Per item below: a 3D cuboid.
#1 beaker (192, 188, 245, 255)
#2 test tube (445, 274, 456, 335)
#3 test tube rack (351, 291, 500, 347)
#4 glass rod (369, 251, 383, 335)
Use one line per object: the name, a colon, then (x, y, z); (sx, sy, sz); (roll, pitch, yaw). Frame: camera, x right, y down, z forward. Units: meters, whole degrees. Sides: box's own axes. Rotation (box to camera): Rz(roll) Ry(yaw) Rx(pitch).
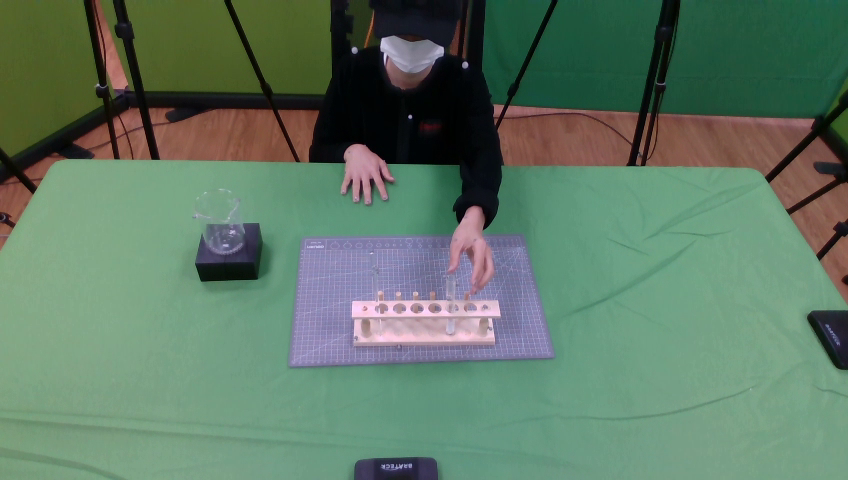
beaker: (-0.359, -0.028, 1.073); (0.074, 0.101, 0.083); (-25, 53, -25)
test tube: (0.042, 0.108, 0.981); (0.017, 0.151, 0.017); (-1, 47, 1)
test tube rack: (0.000, 0.129, 1.026); (0.242, 0.085, 0.066); (0, 46, -4)
glass rod: (-0.075, 0.089, 0.965); (0.008, 0.201, 0.008); (-1, 44, 1)
